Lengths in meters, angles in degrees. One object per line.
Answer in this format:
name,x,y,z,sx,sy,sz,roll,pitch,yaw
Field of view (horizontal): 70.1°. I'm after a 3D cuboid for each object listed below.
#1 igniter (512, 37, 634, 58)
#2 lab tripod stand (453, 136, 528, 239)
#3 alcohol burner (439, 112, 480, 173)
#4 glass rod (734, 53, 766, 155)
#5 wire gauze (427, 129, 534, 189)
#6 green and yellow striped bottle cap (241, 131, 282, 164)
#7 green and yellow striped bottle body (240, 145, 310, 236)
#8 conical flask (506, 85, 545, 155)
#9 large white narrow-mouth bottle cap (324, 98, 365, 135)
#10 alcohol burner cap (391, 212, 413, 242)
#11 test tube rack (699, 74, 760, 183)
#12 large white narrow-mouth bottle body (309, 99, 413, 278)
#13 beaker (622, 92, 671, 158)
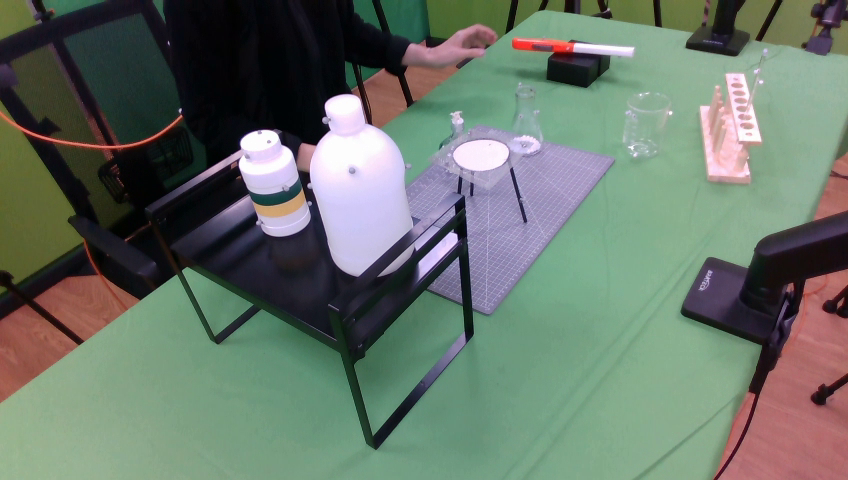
igniter,0.328,-0.433,1.361,0.275,0.025,0.057,12,33,20
lab tripod stand,0.094,-0.086,0.974,0.148,0.132,0.147,-4,43,4
alcohol burner,0.064,-0.183,1.107,0.078,0.119,0.077,-4,43,4
glass rod,0.540,-0.220,1.007,0.008,0.201,0.008,-5,45,6
wire gauze,0.086,-0.131,0.923,0.124,0.011,0.122,26,52,33
green and yellow striped bottle cap,-0.187,-0.107,0.695,0.045,0.020,0.045,-3,39,3
green and yellow striped bottle body,-0.181,-0.068,0.729,0.063,0.120,0.063,-4,40,4
conical flask,0.190,-0.227,1.134,0.075,0.122,0.075,-4,41,4
large white narrow-mouth bottle cap,-0.076,-0.120,0.585,0.038,0.024,0.037,-3,42,3
alcohol burner cap,-0.038,-0.023,0.989,0.034,0.048,0.033,-4,40,4
test tube rack,0.547,-0.208,1.095,0.066,0.085,0.242,6,42,16
large white narrow-mouth bottle body,-0.068,-0.057,0.644,0.102,0.195,0.101,-3,42,4
beaker,0.402,-0.210,1.106,0.074,0.101,0.083,-9,40,-2
